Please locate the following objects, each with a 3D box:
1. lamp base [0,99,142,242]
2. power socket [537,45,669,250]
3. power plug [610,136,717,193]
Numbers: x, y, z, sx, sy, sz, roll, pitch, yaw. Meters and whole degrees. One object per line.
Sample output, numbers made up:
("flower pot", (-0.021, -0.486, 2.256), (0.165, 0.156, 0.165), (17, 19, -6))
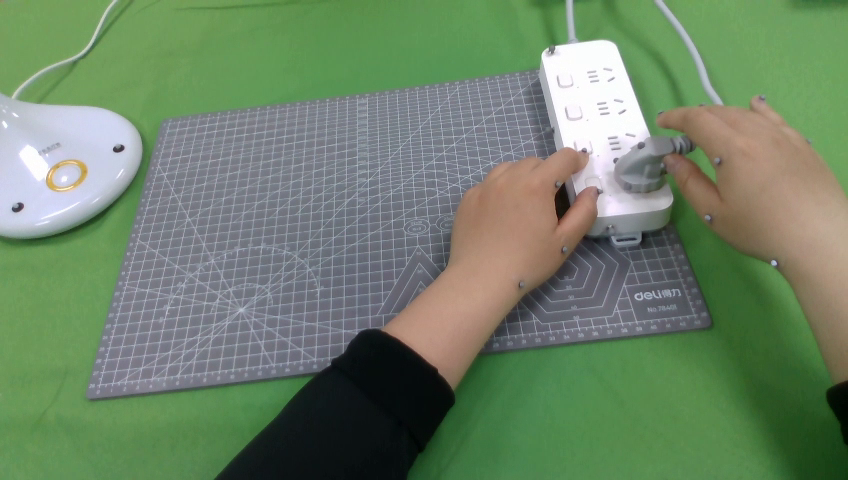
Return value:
("lamp base", (-0.368, -0.114, 0.519), (0.178, 0.182, 0.160), (26, 60, 27))
("power socket", (0.147, -0.091, 0.519), (0.072, 0.033, 0.224), (-5, 53, 3))
("power plug", (0.177, -0.050, 0.454), (0.072, 0.053, 0.035), (3, 53, 10))
